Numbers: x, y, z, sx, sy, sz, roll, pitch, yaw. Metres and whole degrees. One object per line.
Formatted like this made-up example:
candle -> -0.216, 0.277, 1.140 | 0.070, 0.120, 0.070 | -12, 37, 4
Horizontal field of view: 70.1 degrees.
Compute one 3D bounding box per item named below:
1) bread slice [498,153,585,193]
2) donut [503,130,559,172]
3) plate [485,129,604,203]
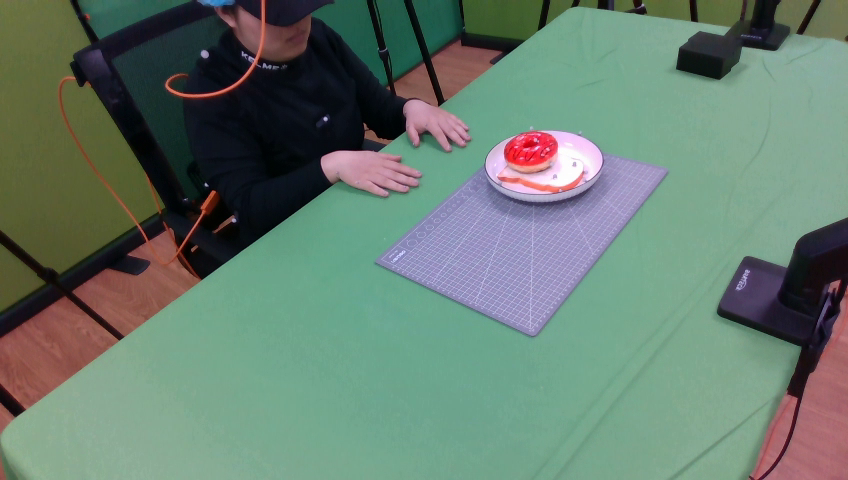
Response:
bread slice -> 0.215, -0.125, 1.076 | 0.133, 0.018, 0.107 | 16, 48, 28
donut -> 0.190, -0.158, 1.076 | 0.099, 0.048, 0.098 | -8, 40, 8
plate -> 0.212, -0.129, 1.079 | 0.209, 0.038, 0.208 | -5, 40, 5
